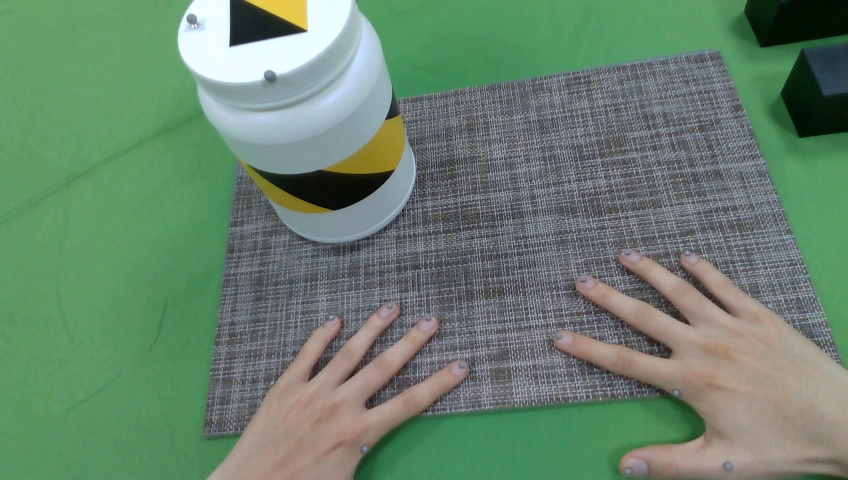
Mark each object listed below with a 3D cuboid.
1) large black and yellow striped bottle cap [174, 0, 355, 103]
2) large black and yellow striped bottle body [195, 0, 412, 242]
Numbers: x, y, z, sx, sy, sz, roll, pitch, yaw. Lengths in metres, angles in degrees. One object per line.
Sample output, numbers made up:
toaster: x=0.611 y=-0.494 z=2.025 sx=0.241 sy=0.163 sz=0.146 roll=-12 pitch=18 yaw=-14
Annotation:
large black and yellow striped bottle cap: x=-0.101 y=-0.136 z=0.386 sx=0.115 sy=0.019 sz=0.114 roll=-4 pitch=60 yaw=6
large black and yellow striped bottle body: x=-0.087 y=-0.095 z=0.458 sx=0.130 sy=0.186 sz=0.129 roll=-4 pitch=61 yaw=8
